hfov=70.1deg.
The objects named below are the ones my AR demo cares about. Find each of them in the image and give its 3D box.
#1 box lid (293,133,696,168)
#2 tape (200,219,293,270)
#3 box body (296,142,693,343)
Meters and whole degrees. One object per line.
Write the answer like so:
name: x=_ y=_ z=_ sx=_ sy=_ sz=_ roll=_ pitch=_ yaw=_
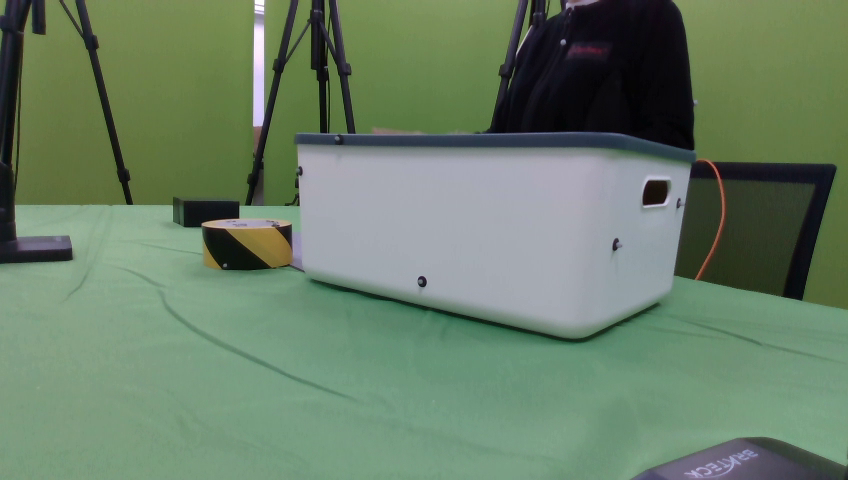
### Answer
box lid: x=0.068 y=-0.094 z=0.645 sx=0.369 sy=0.015 sz=0.265 roll=9 pitch=8 yaw=37
tape: x=-0.228 y=0.004 z=0.778 sx=0.117 sy=0.052 sz=0.117 roll=1 pitch=8 yaw=0
box body: x=0.065 y=-0.020 z=0.653 sx=0.362 sy=0.160 sz=0.255 roll=9 pitch=9 yaw=37
